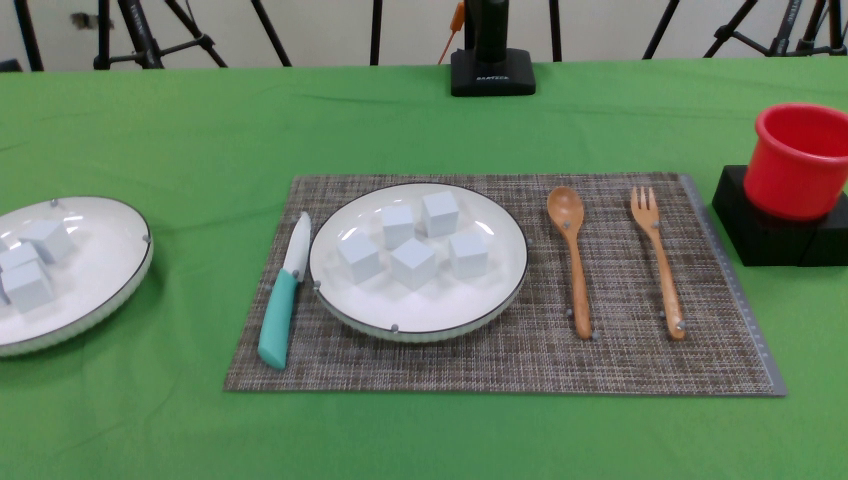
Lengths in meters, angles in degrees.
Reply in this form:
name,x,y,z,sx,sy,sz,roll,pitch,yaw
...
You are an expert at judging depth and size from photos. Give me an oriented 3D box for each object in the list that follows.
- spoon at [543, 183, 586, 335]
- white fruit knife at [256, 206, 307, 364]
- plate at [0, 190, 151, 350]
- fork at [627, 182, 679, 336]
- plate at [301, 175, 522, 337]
name,x,y,z,sx,sy,sz,roll,pitch,yaw
spoon,0.142,0.011,0.591,0.042,0.022,0.192,14,42,-8
white fruit knife,-0.134,0.032,0.587,0.027,0.016,0.205,20,38,-18
plate,-0.370,0.028,0.587,0.209,0.038,0.207,-1,43,1
fork,0.224,0.010,0.592,0.028,0.019,0.205,8,42,1
plate,-0.011,0.015,0.583,0.208,0.039,0.205,-1,43,1
